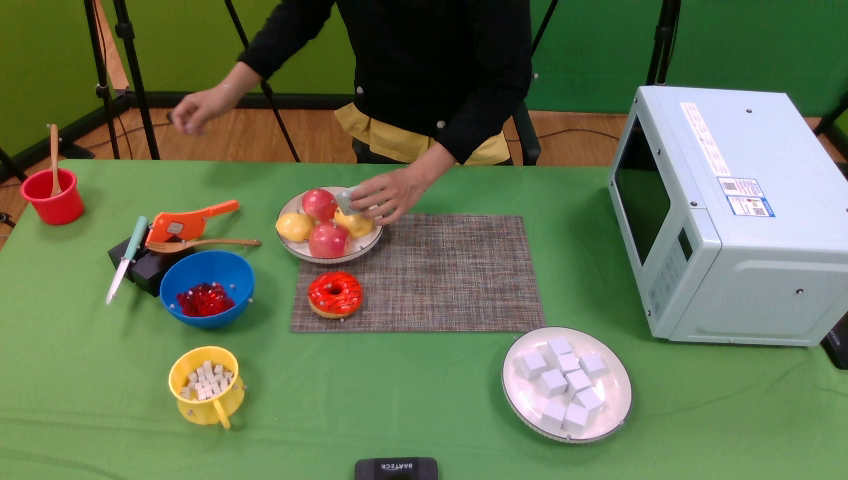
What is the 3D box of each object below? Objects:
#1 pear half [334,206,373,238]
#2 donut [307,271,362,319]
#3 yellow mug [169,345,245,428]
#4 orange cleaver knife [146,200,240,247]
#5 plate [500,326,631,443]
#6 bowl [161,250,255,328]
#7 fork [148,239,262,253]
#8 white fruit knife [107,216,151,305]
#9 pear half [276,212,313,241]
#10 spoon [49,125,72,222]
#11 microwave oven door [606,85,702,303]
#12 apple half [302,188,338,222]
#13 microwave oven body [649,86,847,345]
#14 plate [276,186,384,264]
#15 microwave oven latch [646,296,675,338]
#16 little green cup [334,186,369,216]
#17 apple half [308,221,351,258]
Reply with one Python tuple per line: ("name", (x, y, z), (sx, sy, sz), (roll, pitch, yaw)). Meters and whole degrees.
("pear half", (-0.147, -0.060, 1.210), (0.076, 0.056, 0.109), (-16, 45, -25))
("donut", (-0.157, 0.097, 1.073), (0.099, 0.048, 0.098), (4, 45, -4))
("yellow mug", (-0.322, 0.230, 0.922), (0.100, 0.064, 0.130), (-24, 53, -25))
("orange cleaver knife", (-0.435, -0.033, 1.157), (0.012, 0.077, 0.211), (31, 26, 18))
("plate", (0.224, 0.234, 0.978), (0.208, 0.039, 0.206), (2, 46, -2))
("bowl", (-0.362, 0.097, 1.040), (0.151, 0.077, 0.150), (2, 45, -2))
("fork", (-0.398, 0.008, 1.117), (0.208, 0.019, 0.028), (-5, 34, -37))
("white fruit knife", (-0.518, 0.032, 1.066), (0.027, 0.016, 0.206), (-18, 45, 19))
("pear half", (-0.245, -0.035, 1.178), (0.070, 0.031, 0.088), (40, 41, 1))
("spoon", (-0.717, -0.131, 1.189), (0.042, 0.021, 0.193), (-3, 90, -7))
("microwave oven door", (0.423, -0.094, 1.140), (0.039, 0.245, 0.353), (2, 46, -1))
("apple half", (-0.205, -0.076, 1.217), (0.081, 0.033, 0.081), (18, 46, -19))
("microwave oven body", (0.568, -0.053, 1.118), (0.326, 0.261, 0.439), (2, 45, -1))
("plate", (-0.184, -0.027, 1.195), (0.209, 0.038, 0.208), (2, 46, -2))
("microwave oven latch", (0.412, 0.134, 1.061), (0.030, 0.029, 0.078), (4, 45, 1))
("little green cup", (-0.130, -0.072, 1.115), (0.061, 0.039, 0.061), (-15, 19, 6))
("apple half", (-0.180, -0.005, 1.150), (0.074, 0.053, 0.080), (14, 43, 9))
